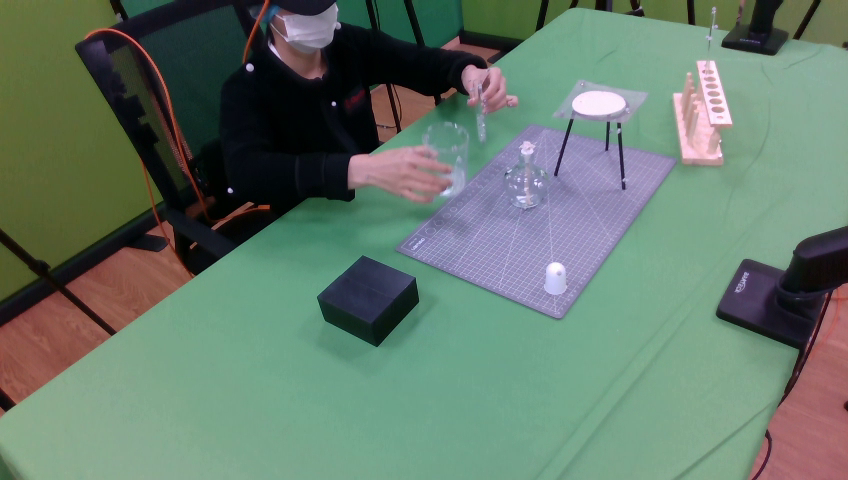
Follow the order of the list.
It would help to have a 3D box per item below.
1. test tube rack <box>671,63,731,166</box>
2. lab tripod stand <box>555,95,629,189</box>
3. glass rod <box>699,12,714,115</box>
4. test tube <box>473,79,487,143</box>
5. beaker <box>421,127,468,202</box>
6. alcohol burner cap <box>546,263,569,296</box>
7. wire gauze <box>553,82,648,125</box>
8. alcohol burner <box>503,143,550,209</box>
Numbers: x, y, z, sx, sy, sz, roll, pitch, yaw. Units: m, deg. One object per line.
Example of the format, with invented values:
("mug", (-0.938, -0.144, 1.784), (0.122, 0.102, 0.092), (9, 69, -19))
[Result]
("test tube rack", (0.513, -0.241, 1.132), (0.066, 0.085, 0.242), (4, 41, 14))
("lab tripod stand", (0.300, -0.174, 1.045), (0.148, 0.132, 0.147), (-5, 38, 5))
("glass rod", (0.525, -0.323, 1.124), (0.008, 0.201, 0.008), (-8, 38, 6))
("test tube", (0.101, -0.227, 1.084), (0.017, 0.151, 0.017), (-4, 57, 7))
("beaker", (0.036, -0.120, 0.972), (0.073, 0.100, 0.084), (30, 53, 28))
("alcohol burner cap", (0.191, 0.053, 0.862), (0.034, 0.048, 0.033), (-5, 40, 4))
("wire gauze", (0.293, -0.225, 1.002), (0.120, 0.011, 0.125), (17, 45, 27))
("alcohol burner", (0.171, -0.111, 1.006), (0.078, 0.119, 0.077), (-4, 41, 4))
